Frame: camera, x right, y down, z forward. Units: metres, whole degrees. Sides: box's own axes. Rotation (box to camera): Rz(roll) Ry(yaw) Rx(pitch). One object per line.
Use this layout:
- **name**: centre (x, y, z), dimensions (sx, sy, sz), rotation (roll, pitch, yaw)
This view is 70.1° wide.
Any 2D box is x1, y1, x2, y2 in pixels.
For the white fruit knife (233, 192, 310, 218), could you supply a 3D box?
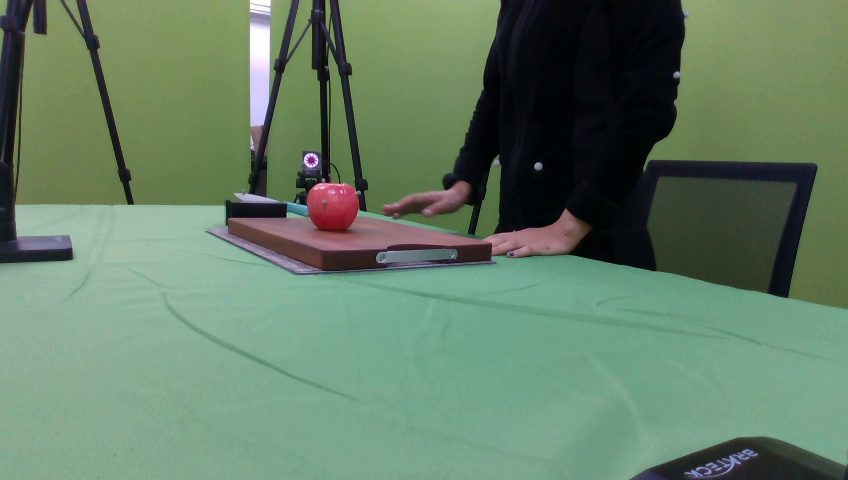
- **white fruit knife**: centre (-0.276, -0.066, 1.210), dimensions (0.208, 0.027, 0.016), rotation (14, 0, -24)

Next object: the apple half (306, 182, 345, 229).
- **apple half**: centre (-0.157, -0.054, 0.950), dimensions (0.053, 0.074, 0.080), rotation (-5, 13, -20)

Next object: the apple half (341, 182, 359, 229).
- **apple half**: centre (-0.120, -0.056, 0.963), dimensions (0.033, 0.081, 0.081), rotation (-5, 9, -20)
